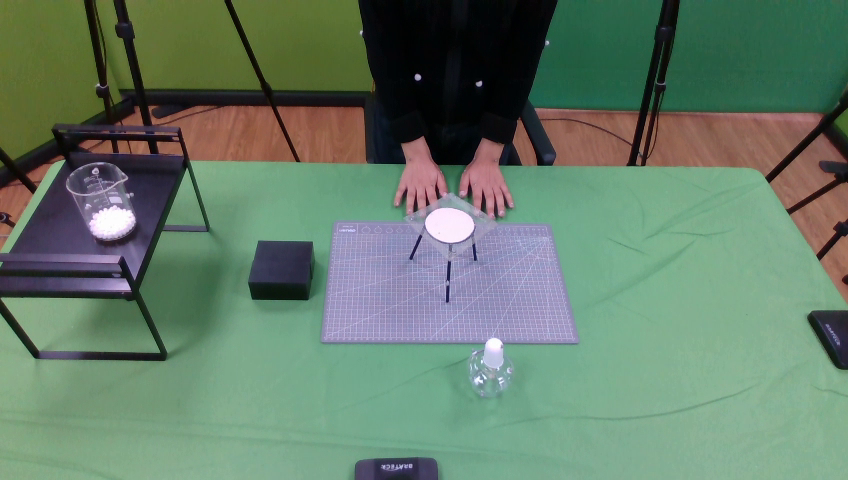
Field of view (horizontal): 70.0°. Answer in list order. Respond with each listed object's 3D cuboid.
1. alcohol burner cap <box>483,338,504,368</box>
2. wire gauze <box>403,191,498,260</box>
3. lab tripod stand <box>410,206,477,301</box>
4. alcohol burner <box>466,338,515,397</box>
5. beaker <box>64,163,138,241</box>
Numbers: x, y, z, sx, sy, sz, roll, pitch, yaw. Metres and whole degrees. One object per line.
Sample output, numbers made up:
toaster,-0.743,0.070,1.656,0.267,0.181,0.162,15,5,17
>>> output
alcohol burner cap,0.108,0.170,0.928,0.034,0.048,0.033,-1,41,1
wire gauze,0.046,-0.032,1.053,0.121,0.011,0.124,-32,55,-29
lab tripod stand,0.039,0.015,1.101,0.148,0.132,0.147,1,47,0
alcohol burner,0.106,0.195,0.952,0.078,0.120,0.077,1,46,0
beaker,-0.478,-0.055,0.910,0.084,0.101,0.073,-9,48,-13
